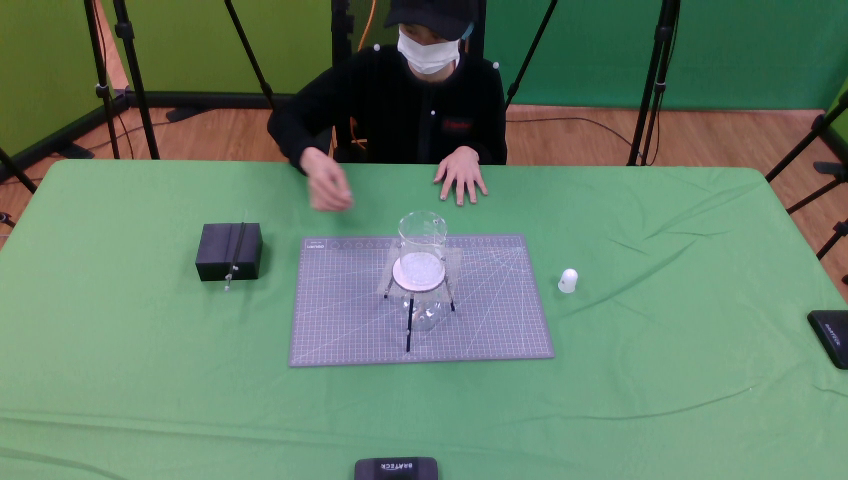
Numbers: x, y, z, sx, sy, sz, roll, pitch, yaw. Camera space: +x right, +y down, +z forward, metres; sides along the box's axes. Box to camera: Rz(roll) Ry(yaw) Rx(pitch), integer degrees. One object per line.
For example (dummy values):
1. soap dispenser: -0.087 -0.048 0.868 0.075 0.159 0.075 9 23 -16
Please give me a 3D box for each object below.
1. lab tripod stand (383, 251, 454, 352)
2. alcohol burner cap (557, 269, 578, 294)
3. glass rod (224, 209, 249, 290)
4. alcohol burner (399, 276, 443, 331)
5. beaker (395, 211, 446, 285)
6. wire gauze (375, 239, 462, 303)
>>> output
1. lab tripod stand: -0.016 0.094 1.025 0.148 0.132 0.147 1 46 -1
2. alcohol burner cap: 0.270 0.074 1.135 0.034 0.048 0.033 3 46 -2
3. glass rod: -0.339 0.013 1.102 0.008 0.008 0.198 2 45 -3
4. alcohol burner: -0.004 0.101 1.033 0.078 0.119 0.077 3 48 -3
5. beaker: -0.002 0.017 0.941 0.083 0.101 0.074 36 54 29
6. wire gauze: -0.006 0.049 0.978 0.121 0.011 0.124 10 44 5
